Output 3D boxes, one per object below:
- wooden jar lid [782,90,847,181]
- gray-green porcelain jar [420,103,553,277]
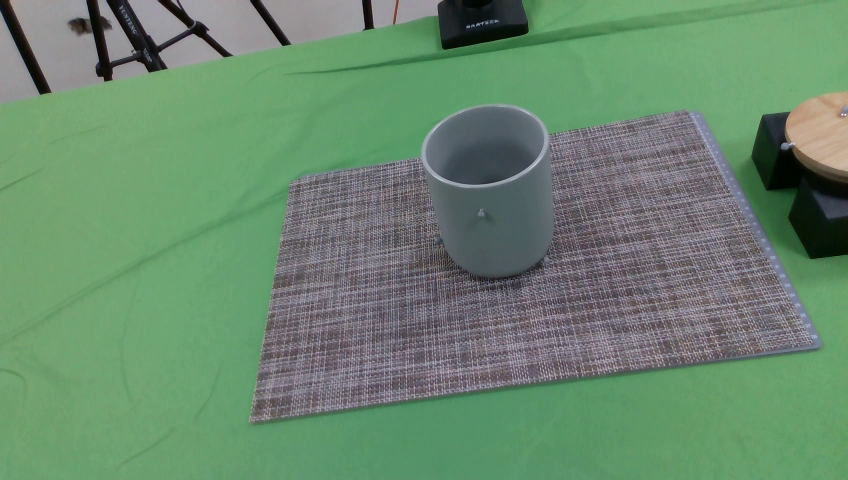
[{"bbox_3d":[0.362,-0.087,0.510,0.108,0.021,0.107,-7,49,9],"label":"wooden jar lid"},{"bbox_3d":[0.059,-0.038,0.534,0.106,0.128,0.105,-7,47,8],"label":"gray-green porcelain jar"}]
